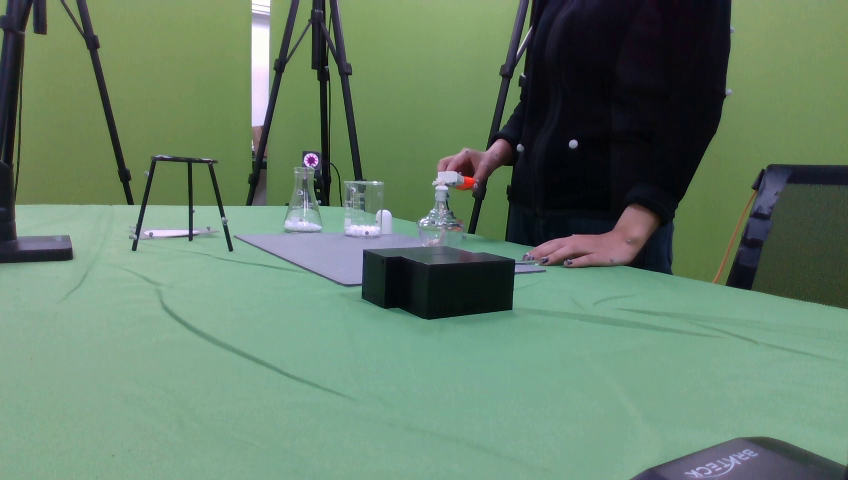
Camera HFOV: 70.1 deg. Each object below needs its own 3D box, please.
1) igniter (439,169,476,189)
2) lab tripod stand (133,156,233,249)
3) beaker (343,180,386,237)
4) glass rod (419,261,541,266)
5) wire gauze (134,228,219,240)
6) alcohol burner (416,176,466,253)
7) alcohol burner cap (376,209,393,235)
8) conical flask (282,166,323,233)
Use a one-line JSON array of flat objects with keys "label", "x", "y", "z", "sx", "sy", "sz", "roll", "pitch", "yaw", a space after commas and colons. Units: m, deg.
[{"label": "igniter", "x": 0.062, "y": -0.108, "z": 1.081, "sx": 0.057, "sy": 0.025, "sz": 0.277, "roll": 0, "pitch": 3, "yaw": 10}, {"label": "lab tripod stand", "x": -0.342, "y": -0.054, "z": 0.878, "sx": 0.148, "sy": 0.131, "sz": 0.148, "roll": 4, "pitch": 6, "yaw": 0}, {"label": "beaker", "x": -0.111, "y": -0.058, "z": 1.090, "sx": 0.083, "sy": 0.100, "sz": 0.074, "roll": 7, "pitch": 8, "yaw": 33}, {"label": "glass rod", "x": 0.080, "y": 0.031, "z": 0.807, "sx": 0.201, "sy": 0.008, "sz": 0.008, "roll": 1, "pitch": 6, "yaw": -32}, {"label": "wire gauze", "x": -0.421, "y": -0.014, "z": 1.024, "sx": 0.122, "sy": 0.011, "sz": 0.124, "roll": -2, "pitch": 7, "yaw": -34}, {"label": "alcohol burner", "x": 0.027, "y": -0.039, "z": 0.935, "sx": 0.078, "sy": 0.119, "sz": 0.078, "roll": 2, "pitch": 9, "yaw": 0}, {"label": "alcohol burner cap", "x": -0.075, "y": -0.036, "z": 1.150, "sx": 0.034, "sy": 0.048, "sz": 0.034, "roll": 2, "pitch": 7, "yaw": 0}, {"label": "conical flask", "x": -0.225, "y": -0.076, "z": 1.129, "sx": 0.075, "sy": 0.122, "sz": 0.075, "roll": 2, "pitch": 8, "yaw": 0}]
